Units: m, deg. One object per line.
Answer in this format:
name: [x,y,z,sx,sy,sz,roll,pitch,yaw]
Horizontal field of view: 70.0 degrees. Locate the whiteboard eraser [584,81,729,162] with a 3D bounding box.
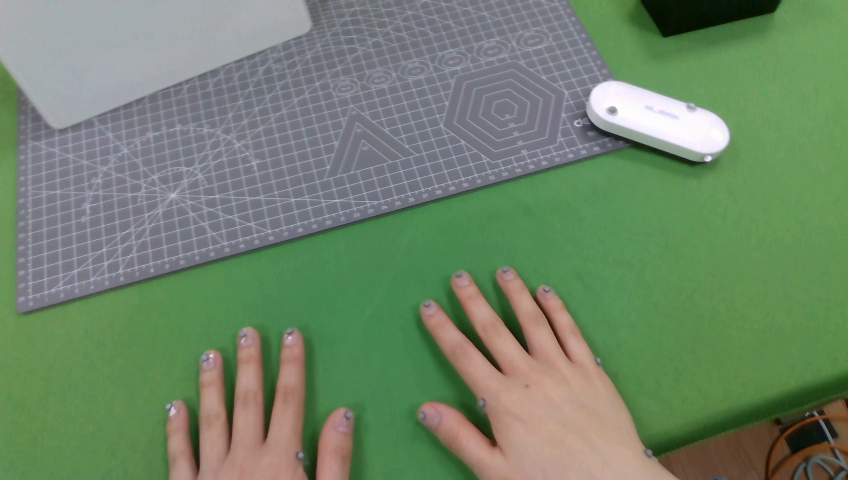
whiteboard eraser: [0.168,-0.086,0.439,0.101,0.019,0.041,22,64,10]

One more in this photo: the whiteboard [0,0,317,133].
whiteboard: [-0.238,-0.273,0.420,0.217,0.308,0.142,-25,45,-10]
